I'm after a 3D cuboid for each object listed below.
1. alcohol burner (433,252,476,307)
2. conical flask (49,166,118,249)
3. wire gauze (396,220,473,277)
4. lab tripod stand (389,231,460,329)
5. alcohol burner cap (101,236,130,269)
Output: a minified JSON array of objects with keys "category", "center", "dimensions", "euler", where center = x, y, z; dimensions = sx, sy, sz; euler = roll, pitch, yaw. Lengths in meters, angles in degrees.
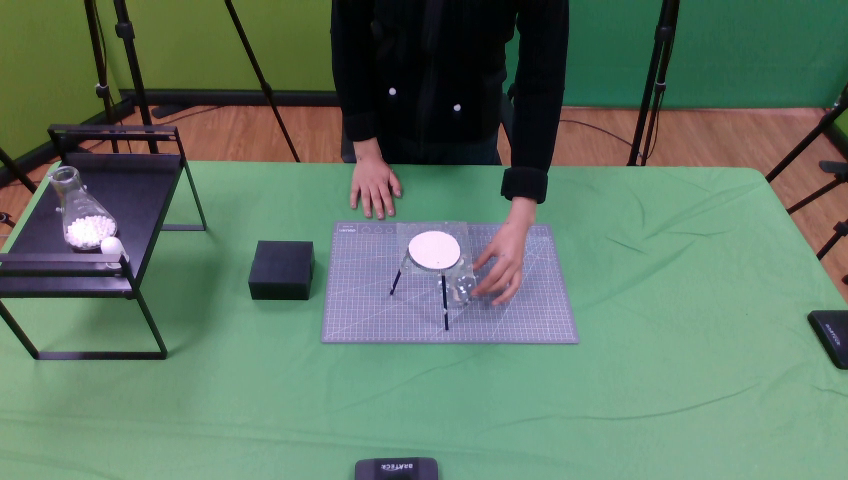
[{"category":"alcohol burner","center":[0.055,0.064,1.074],"dimensions":[0.078,0.119,0.077],"euler":[3,44,-3]},{"category":"conical flask","center":[-0.505,-0.051,0.888],"dimensions":[0.075,0.122,0.075],"euler":[2,46,-2]},{"category":"wire gauze","center":[0.016,0.012,1.013],"dimensions":[0.125,0.011,0.120],"euler":[1,47,-5]},{"category":"lab tripod stand","center":[0.015,0.063,1.058],"dimensions":[0.148,0.132,0.147],"euler":[4,46,-4]},{"category":"alcohol burner cap","center":[-0.452,0.016,0.883],"dimensions":[0.034,0.048,0.033],"euler":[2,46,-2]}]
